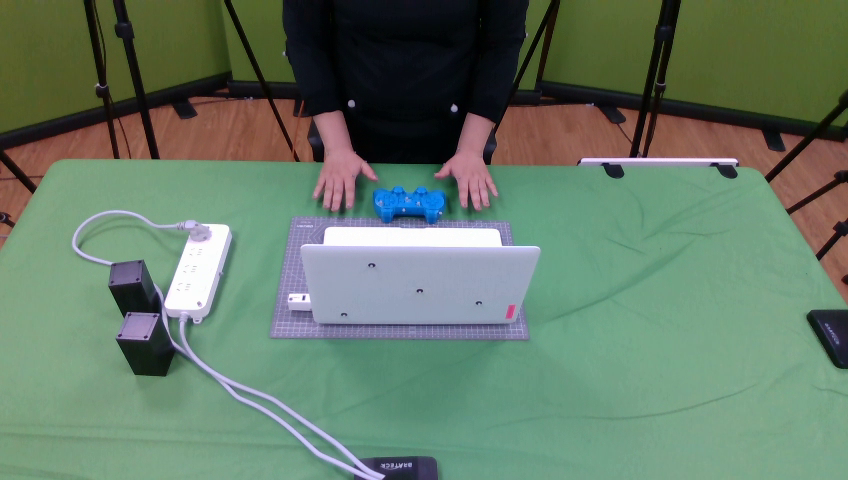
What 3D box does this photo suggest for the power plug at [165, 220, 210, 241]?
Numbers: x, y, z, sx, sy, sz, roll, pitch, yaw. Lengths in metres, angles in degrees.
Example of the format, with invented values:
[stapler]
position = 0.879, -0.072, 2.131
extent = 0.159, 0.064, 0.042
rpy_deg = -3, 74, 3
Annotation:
[power plug]
position = -0.440, -0.016, 1.143
extent = 0.072, 0.053, 0.035
rpy_deg = 7, 46, 8

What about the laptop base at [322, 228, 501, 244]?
[laptop base]
position = -0.020, 0.063, 1.136
extent = 0.355, 0.023, 0.234
rpy_deg = 0, 43, -4

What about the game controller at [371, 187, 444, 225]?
[game controller]
position = -0.033, -0.079, 1.254
extent = 0.155, 0.052, 0.096
rpy_deg = 1, 48, -3

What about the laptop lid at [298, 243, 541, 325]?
[laptop lid]
position = -0.010, 0.076, 0.958
extent = 0.357, 0.243, 0.013
rpy_deg = 1, 53, -5

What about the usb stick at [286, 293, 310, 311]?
[usb stick]
position = -0.210, 0.109, 1.059
extent = 0.059, 0.027, 0.021
rpy_deg = 4, 44, -6

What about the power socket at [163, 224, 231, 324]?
[power socket]
position = -0.410, 0.052, 1.107
extent = 0.072, 0.033, 0.225
rpy_deg = 3, 46, -3
